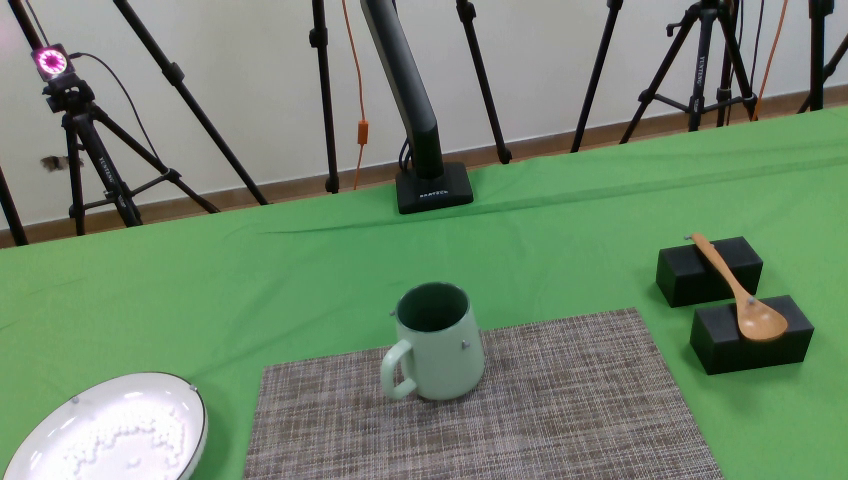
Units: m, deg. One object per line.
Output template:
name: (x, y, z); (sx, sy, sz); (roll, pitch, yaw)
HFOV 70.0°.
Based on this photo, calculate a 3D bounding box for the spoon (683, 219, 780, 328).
spoon: (0.323, 0.028, 0.655); (0.041, 0.022, 0.191); (-26, 35, 15)

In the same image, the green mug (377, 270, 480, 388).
green mug: (0.000, 0.106, 0.640); (0.091, 0.106, 0.125); (25, 50, 36)

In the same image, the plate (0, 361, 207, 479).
plate: (-0.328, 0.218, 0.634); (0.209, 0.038, 0.207); (-6, 38, 5)
